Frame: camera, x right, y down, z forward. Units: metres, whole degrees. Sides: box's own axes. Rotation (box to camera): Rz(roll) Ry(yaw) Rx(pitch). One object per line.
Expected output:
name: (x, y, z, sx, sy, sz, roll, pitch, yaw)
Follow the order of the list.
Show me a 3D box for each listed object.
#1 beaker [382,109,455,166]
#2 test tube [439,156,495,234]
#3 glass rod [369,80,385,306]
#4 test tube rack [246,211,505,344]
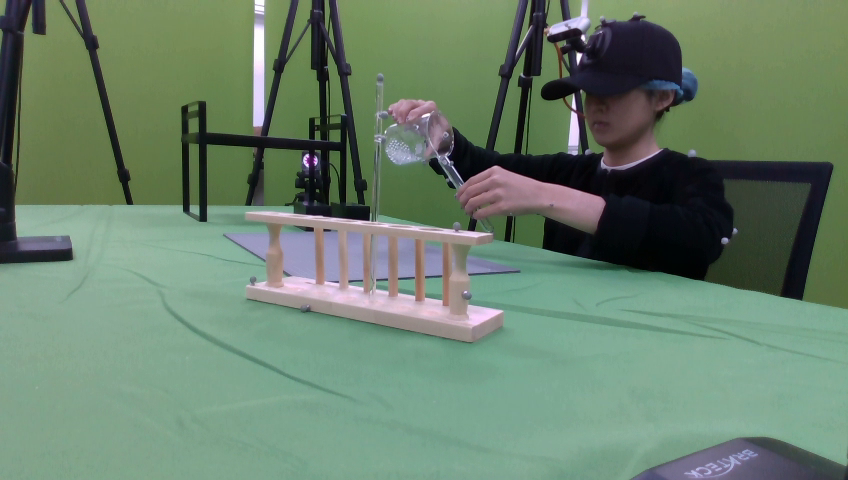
beaker: (-0.011, -0.161, 0.988, 0.100, 0.084, 0.074, -8, -3, 37)
test tube: (0.065, -0.070, 0.933, 0.017, 0.149, 0.017, -27, -22, -11)
glass rod: (-0.041, -0.039, 0.530, 0.008, 0.199, 0.008, 3, 2, 0)
test tube rack: (-0.049, 0.025, 0.547, 0.241, 0.085, 0.067, 7, 8, 29)
